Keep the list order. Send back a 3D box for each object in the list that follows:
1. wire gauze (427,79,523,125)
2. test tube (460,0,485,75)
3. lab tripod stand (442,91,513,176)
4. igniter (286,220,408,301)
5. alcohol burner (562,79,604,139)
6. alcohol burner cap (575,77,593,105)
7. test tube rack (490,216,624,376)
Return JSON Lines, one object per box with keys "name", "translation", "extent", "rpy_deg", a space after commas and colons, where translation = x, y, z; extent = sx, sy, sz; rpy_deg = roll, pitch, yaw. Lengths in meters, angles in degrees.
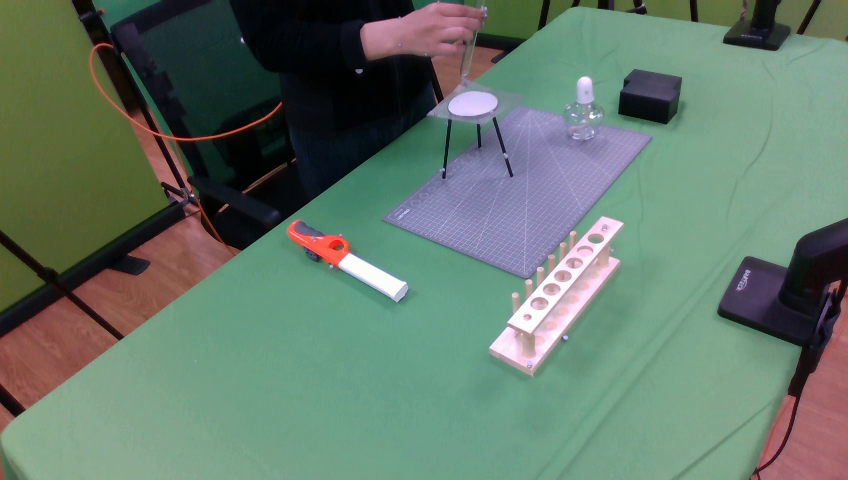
{"name": "wire gauze", "translation": [0.088, -0.239, 1.050], "extent": [0.120, 0.011, 0.125], "rpy_deg": [22, 50, 30]}
{"name": "test tube", "translation": [0.080, -0.339, 0.981], "extent": [0.017, 0.150, 0.017], "rpy_deg": [8, 37, -6]}
{"name": "lab tripod stand", "translation": [0.096, -0.190, 1.096], "extent": [0.148, 0.132, 0.147], "rpy_deg": [-4, 40, 4]}
{"name": "igniter", "translation": [-0.133, 0.028, 0.969], "extent": [0.274, 0.025, 0.057], "rpy_deg": [26, 61, 35]}
{"name": "alcohol burner", "translation": [0.303, -0.253, 1.147], "extent": [0.078, 0.119, 0.077], "rpy_deg": [-4, 41, 4]}
{"name": "alcohol burner cap", "translation": [0.297, -0.279, 1.123], "extent": [0.034, 0.048, 0.033], "rpy_deg": [-8, 41, 8]}
{"name": "test tube rack", "translation": [0.184, 0.064, 0.822], "extent": [0.066, 0.085, 0.243], "rpy_deg": [24, 50, 33]}
